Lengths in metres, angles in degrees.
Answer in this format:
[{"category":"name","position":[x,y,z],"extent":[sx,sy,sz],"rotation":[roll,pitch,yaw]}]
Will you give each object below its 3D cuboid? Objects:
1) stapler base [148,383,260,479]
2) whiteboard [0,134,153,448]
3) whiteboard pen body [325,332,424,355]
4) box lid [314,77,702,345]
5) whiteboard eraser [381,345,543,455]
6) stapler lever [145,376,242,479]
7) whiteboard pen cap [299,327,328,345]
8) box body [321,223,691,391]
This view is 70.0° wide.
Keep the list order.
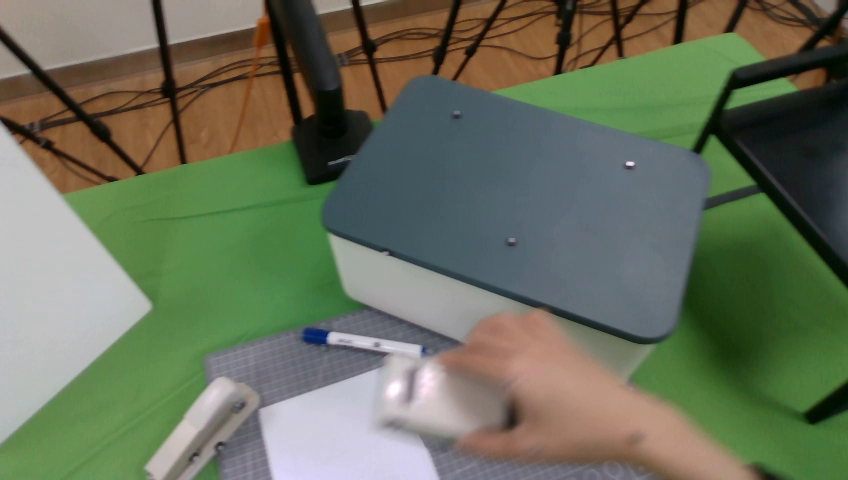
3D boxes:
[{"category":"stapler base","position":[-0.231,0.203,0.635],"extent":[0.041,0.024,0.130],"rotation":[28,62,24]},{"category":"whiteboard","position":[-0.484,0.028,0.625],"extent":[0.142,0.309,0.216],"rotation":[18,54,36]},{"category":"whiteboard pen body","position":[-0.069,0.120,0.696],"extent":[0.140,0.017,0.017],"rotation":[7,54,7]},{"category":"box lid","position":[0.094,-0.054,0.649],"extent":[0.370,0.015,0.262],"rotation":[19,55,12]},{"category":"whiteboard eraser","position":[0.029,0.116,0.436],"extent":[0.113,0.042,0.055],"rotation":[15,55,-8]},{"category":"stapler lever","position":[-0.233,0.190,0.614],"extent":[0.026,0.040,0.118],"rotation":[28,61,24]},{"category":"whiteboard pen cap","position":[-0.127,0.113,0.704],"extent":[0.033,0.018,0.018],"rotation":[7,54,8]},{"category":"box body","position":[0.096,-0.009,0.708],"extent":[0.363,0.162,0.252],"rotation":[19,55,13]}]
